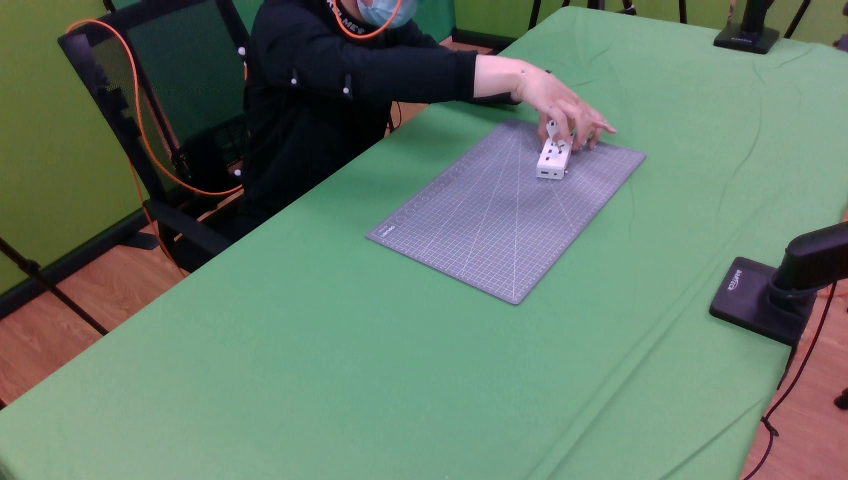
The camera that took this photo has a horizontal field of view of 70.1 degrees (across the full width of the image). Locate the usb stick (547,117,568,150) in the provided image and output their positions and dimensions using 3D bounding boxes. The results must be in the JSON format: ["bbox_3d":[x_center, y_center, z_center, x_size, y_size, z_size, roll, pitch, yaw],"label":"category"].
[{"bbox_3d":[0.239,-0.186,1.073,0.027,0.059,0.021,-15,42,17],"label":"usb stick"}]

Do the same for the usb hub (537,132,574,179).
[{"bbox_3d":[0.243,-0.158,1.112,0.049,0.025,0.125,9,44,18],"label":"usb hub"}]
